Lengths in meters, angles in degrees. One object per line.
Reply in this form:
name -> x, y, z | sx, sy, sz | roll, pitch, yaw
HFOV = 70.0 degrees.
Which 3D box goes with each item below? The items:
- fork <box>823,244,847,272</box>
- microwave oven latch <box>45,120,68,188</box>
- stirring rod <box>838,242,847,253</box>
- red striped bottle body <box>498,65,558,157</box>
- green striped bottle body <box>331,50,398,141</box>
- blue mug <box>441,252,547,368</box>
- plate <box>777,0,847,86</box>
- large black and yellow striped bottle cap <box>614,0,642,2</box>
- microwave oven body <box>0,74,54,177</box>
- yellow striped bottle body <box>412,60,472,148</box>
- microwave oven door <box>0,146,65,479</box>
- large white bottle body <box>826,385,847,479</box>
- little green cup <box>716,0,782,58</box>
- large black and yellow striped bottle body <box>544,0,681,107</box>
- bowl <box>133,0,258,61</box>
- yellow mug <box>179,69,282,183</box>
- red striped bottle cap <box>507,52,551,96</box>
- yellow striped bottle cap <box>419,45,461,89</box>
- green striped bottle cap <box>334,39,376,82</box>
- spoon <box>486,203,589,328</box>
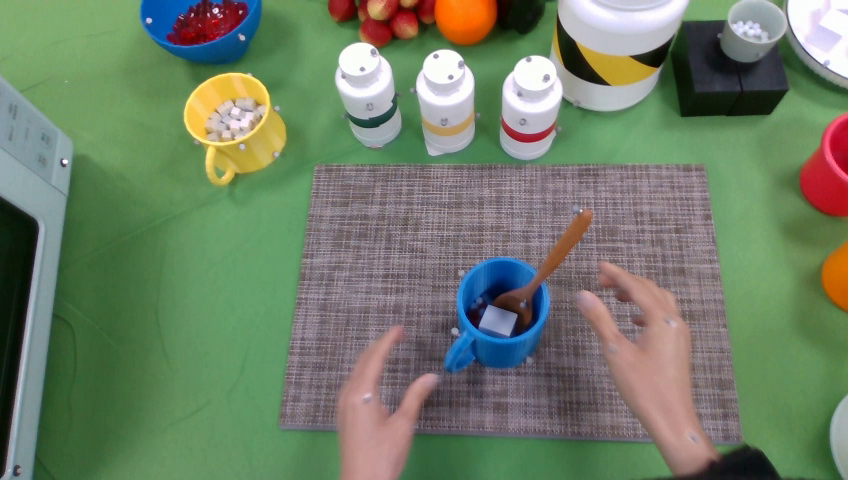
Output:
fork -> 0.462, 0.042, 0.543 | 0.028, 0.019, 0.205 | -37, 25, -9
microwave oven latch -> -0.442, -0.099, 0.712 | 0.030, 0.030, 0.078 | -7, 68, 2
stirring rod -> 0.432, 0.040, 0.553 | 0.014, 0.006, 0.175 | 3, 25, 3
red striped bottle body -> 0.113, -0.148, 0.664 | 0.063, 0.120, 0.062 | -3, 66, 6
green striped bottle body -> -0.067, -0.169, 0.687 | 0.063, 0.120, 0.062 | -2, 67, 4
blue mug -> 0.060, 0.079, 0.579 | 0.116, 0.106, 0.082 | -42, 70, -12
plate -> 0.526, -0.261, 0.722 | 0.209, 0.038, 0.207 | -1, 68, 4
large black and yellow striped bottle cap -> 0.197, -0.280, 0.585 | 0.115, 0.019, 0.114 | -2, 67, 5
microwave oven body -> -0.575, 0.046, 0.559 | 0.326, 0.262, 0.438 | -8, 68, 1
yellow striped bottle body -> 0.021, -0.160, 0.676 | 0.063, 0.121, 0.062 | -2, 67, 5
microwave oven door -> -0.426, 0.062, 0.536 | 0.039, 0.245, 0.353 | -8, 67, 2
large white bottle body -> 0.431, 0.156, 0.478 | 0.130, 0.186, 0.129 | -2, 67, 4
little green cup -> 0.355, -0.234, 0.669 | 0.061, 0.039, 0.061 | -1, 66, 2
large black and yellow striped bottle body -> 0.205, -0.249, 0.663 | 0.131, 0.185, 0.130 | -2, 68, 4
bowl -> -0.277, -0.283, 0.773 | 0.151, 0.077, 0.150 | -1, 68, 3
yellow mug -> -0.230, -0.128, 0.712 | 0.100, 0.064, 0.130 | 10, 70, 8
red striped bottle cap -> 0.107, -0.169, 0.616 | 0.044, 0.018, 0.044 | 0, 66, 0
yellow striped bottle cap -> 0.016, -0.180, 0.628 | 0.044, 0.019, 0.044 | -1, 69, 4
green striped bottle cap -> -0.073, -0.190, 0.639 | 0.044, 0.020, 0.044 | -1, 67, 2
spoon -> 0.099, 0.029, 0.535 | 0.041, 0.195, 0.021 | 34, 57, 6
